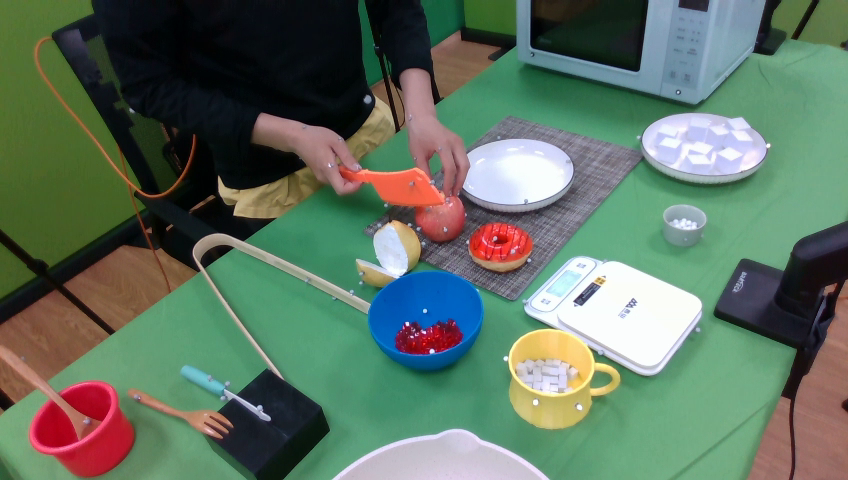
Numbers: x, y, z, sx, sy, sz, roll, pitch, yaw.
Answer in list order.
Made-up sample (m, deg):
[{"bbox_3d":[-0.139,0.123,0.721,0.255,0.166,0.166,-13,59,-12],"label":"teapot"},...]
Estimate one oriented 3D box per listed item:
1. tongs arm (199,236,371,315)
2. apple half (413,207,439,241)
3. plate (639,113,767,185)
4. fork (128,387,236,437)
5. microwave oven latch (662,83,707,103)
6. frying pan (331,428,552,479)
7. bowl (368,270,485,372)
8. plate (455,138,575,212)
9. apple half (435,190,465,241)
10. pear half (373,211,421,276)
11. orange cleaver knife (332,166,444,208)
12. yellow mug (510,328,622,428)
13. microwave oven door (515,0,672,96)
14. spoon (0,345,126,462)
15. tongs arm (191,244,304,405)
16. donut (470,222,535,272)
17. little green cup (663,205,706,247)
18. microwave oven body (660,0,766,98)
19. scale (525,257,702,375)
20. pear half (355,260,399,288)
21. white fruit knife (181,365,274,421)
[{"bbox_3d":[-0.209,0.062,0.924,0.381,0.026,0.051,23,53,32],"label":"tongs arm"},{"bbox_3d":[0.000,-0.033,0.963,0.033,0.081,0.080,-13,41,-10],"label":"apple half"},{"bbox_3d":[0.489,-0.157,1.074,0.207,0.039,0.206,-4,40,4],"label":"plate"},{"bbox_3d":[-0.305,0.207,0.744,0.206,0.019,0.028,3,40,36],"label":"fork"},{"bbox_3d":[0.517,-0.296,1.204,0.078,0.029,0.030,28,52,35],"label":"microwave oven latch"},{"bbox_3d":[-0.089,0.306,0.564,0.487,0.103,0.306,10,41,7],"label":"frying pan"},{"bbox_3d":[0.007,0.118,0.791,0.151,0.077,0.150,-5,39,4],"label":"bowl"},{"bbox_3d":[0.159,-0.111,1.063,0.209,0.038,0.208,-4,40,4],"label":"plate"},{"bbox_3d":[0.039,-0.041,0.969,0.053,0.075,0.080,-13,31,-9],"label":"apple half"},{"bbox_3d":[-0.038,-0.004,0.917,0.076,0.110,0.056,21,46,26],"label":"pear half"},{"bbox_3d":[-0.058,-0.082,0.914,0.209,0.077,0.012,9,47,40],"label":"orange cleaver knife"},{"bbox_3d":[0.168,0.164,0.722,0.130,0.064,0.099,0,40,8],"label":"yellow mug"},{"bbox_3d":[0.343,-0.455,1.259,0.353,0.245,0.039,26,51,33],"label":"microwave oven door"},{"bbox_3d":[-0.434,0.192,0.720,0.194,0.021,0.042,47,54,-7],"label":"spoon"},{"bbox_3d":[-0.268,0.111,0.882,0.028,0.028,0.384,-36,47,-18],"label":"tongs arm"},{"bbox_3d":[0.119,0.009,0.923,0.099,0.048,0.098,-4,38,3],"label":"donut"},{"bbox_3d":[0.396,-0.020,0.926,0.061,0.039,0.061,-4,40,4],"label":"little green cup"},{"bbox_3d":[0.472,-0.513,1.317,0.438,0.261,0.327,26,51,34],"label":"microwave oven body"},{"bbox_3d":[0.254,0.091,0.821,0.199,0.032,0.149,28,51,35],"label":"scale"},{"bbox_3d":[-0.074,0.054,0.895,0.070,0.031,0.088,16,1,27],"label":"pear half"},{"bbox_3d":[-0.245,0.187,0.747,0.205,0.027,0.016,9,41,40],"label":"white fruit knife"}]
